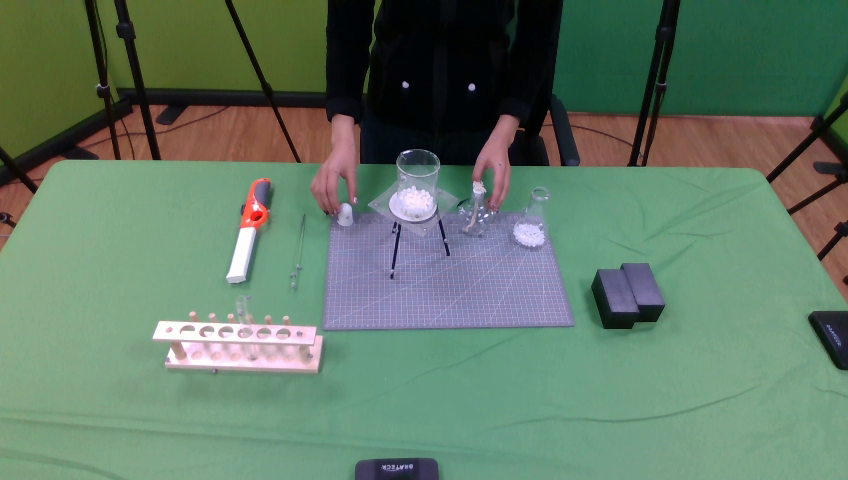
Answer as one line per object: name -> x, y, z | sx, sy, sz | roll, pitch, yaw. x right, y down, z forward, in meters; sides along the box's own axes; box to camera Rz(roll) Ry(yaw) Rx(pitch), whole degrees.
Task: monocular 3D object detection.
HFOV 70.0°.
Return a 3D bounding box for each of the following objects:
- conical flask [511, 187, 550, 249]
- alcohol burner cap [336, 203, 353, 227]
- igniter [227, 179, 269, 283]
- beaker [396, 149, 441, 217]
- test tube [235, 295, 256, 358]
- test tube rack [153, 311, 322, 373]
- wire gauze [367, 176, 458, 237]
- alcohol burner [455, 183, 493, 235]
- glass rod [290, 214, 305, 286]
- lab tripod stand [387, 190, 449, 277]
conical flask -> 0.217, -0.048, 1.190 | 0.075, 0.122, 0.075 | 2, 46, -2
alcohol burner cap -> -0.162, -0.054, 1.221 | 0.034, 0.048, 0.033 | -2, 50, 3
igniter -> -0.345, -0.027, 1.195 | 0.057, 0.025, 0.274 | -6, 46, 5
beaker -> -0.015, -0.098, 1.053 | 0.074, 0.101, 0.083 | -31, 55, -30
test tube -> -0.274, 0.136, 0.933 | 0.017, 0.151, 0.017 | 4, 46, -4
test tube rack -> -0.293, 0.160, 0.978 | 0.242, 0.085, 0.066 | 3, 46, -2
wire gauze -> -0.020, -0.066, 1.089 | 0.124, 0.011, 0.121 | 27, 47, 22
alcohol burner -> 0.102, -0.067, 1.205 | 0.078, 0.119, 0.077 | 4, 45, -4
glass rod -> -0.245, 0.015, 1.176 | 0.008, 0.008, 0.198 | 1, 43, -3
lab tripod stand -> -0.021, -0.018, 1.135 | 0.148, 0.132, 0.147 | 3, 44, -3
